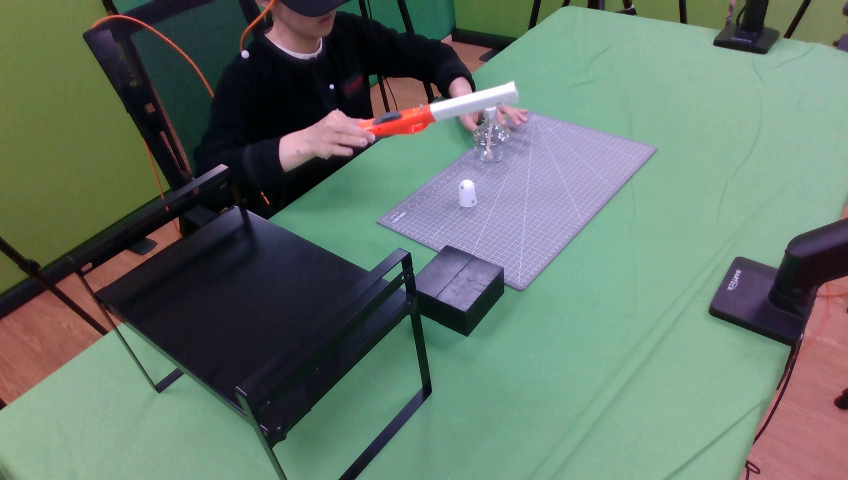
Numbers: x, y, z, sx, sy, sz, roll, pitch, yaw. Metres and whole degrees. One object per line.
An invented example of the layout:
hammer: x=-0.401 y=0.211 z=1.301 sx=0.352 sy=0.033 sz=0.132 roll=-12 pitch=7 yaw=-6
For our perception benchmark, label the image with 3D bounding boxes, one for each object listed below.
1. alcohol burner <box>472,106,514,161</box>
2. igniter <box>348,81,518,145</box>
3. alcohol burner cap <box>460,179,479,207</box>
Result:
alcohol burner: x=0.127 y=-0.208 z=1.123 sx=0.078 sy=0.119 sz=0.077 roll=-5 pitch=39 yaw=5
igniter: x=0.006 y=-0.189 z=0.917 sx=0.275 sy=0.057 sz=0.025 roll=-12 pitch=65 yaw=17
alcohol burner cap: x=0.078 y=-0.083 z=1.041 sx=0.034 sy=0.048 sz=0.033 roll=-5 pitch=42 yaw=5
